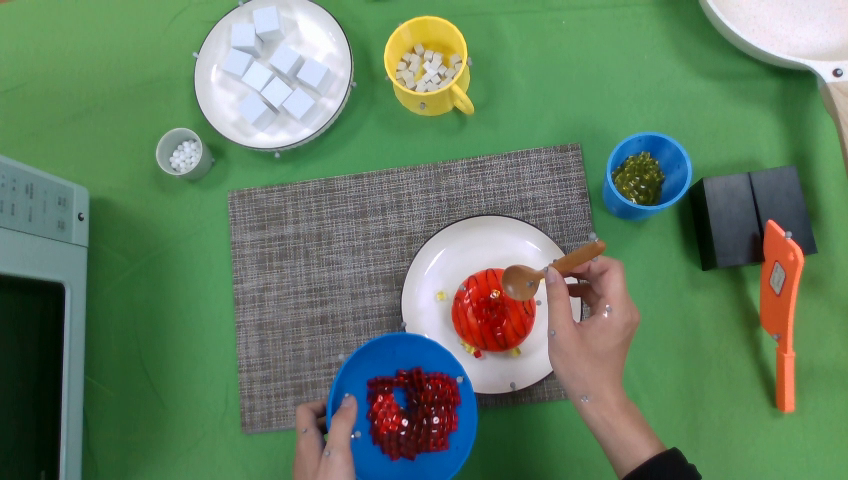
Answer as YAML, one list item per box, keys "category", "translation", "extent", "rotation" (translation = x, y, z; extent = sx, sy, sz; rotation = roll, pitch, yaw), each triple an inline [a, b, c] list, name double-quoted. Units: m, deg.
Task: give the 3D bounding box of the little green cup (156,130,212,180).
- category: "little green cup"
  translation: [-0.305, -0.106, 0.778]
  extent: [0.061, 0.039, 0.061]
  rotation: [-1, 82, 5]

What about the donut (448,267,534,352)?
- category: "donut"
  translation: [0.076, 0.080, 0.692]
  extent: [0.099, 0.048, 0.099]
  rotation: [-1, 85, 7]

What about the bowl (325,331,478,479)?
- category: "bowl"
  translation: [-0.032, 0.172, 0.601]
  extent: [0.152, 0.077, 0.150]
  rotation: [9, 67, -21]

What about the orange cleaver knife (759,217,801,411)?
- category: "orange cleaver knife"
  translation: [0.378, 0.082, 0.651]
  extent: [0.012, 0.077, 0.212]
  rotation: [-8, 109, 6]

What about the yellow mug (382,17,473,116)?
- category: "yellow mug"
  translation: [0.014, -0.201, 0.743]
  extent: [0.100, 0.064, 0.130]
  rotation: [-44, 80, -2]

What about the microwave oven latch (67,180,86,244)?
- category: "microwave oven latch"
  translation: [-0.448, -0.035, 0.766]
  extent: [0.030, 0.029, 0.079]
  rotation: [-2, 82, 6]

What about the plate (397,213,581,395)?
- category: "plate"
  translation: [0.075, 0.073, 0.705]
  extent: [0.209, 0.038, 0.208]
  rotation: [-1, 82, 7]

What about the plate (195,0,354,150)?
- category: "plate"
  translation: [-0.190, -0.213, 0.783]
  extent: [0.207, 0.039, 0.207]
  rotation: [-1, 81, 7]

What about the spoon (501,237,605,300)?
- category: "spoon"
  translation: [0.115, 0.028, 0.564]
  extent: [0.021, 0.194, 0.041]
  rotation: [-31, 86, -17]

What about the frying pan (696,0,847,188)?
- category: "frying pan"
  translation: [0.451, -0.231, 0.678]
  extent: [0.306, 0.103, 0.485]
  rotation: [-2, 73, 7]

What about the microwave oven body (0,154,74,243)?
- category: "microwave oven body"
  translation: [-0.596, 0.135, 0.659]
  extent: [0.326, 0.261, 0.440]
  rotation: [-4, 81, 5]

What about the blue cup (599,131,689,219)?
- category: "blue cup"
  translation: [0.236, -0.064, 0.679]
  extent: [0.092, 0.100, 0.092]
  rotation: [-1, 79, 5]

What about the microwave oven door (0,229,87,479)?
- category: "microwave oven door"
  translation: [-0.449, 0.165, 0.633]
  extent: [0.039, 0.245, 0.354]
  rotation: [-5, 81, 6]
